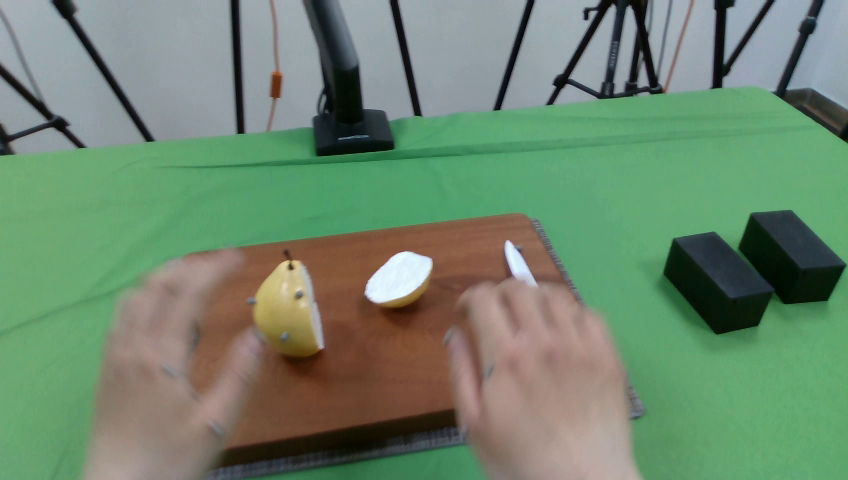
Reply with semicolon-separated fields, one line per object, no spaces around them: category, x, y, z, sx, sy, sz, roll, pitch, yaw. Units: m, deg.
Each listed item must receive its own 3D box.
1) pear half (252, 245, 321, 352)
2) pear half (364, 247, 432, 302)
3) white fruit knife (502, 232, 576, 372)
pear half;-0.125;0.049;0.534;0.056;0.111;0.075;-12;37;-13
pear half;-0.022;0.039;0.607;0.070;0.031;0.087;-12;23;10
white fruit knife;0.109;0.051;0.602;0.027;0.016;0.205;6;35;-16
